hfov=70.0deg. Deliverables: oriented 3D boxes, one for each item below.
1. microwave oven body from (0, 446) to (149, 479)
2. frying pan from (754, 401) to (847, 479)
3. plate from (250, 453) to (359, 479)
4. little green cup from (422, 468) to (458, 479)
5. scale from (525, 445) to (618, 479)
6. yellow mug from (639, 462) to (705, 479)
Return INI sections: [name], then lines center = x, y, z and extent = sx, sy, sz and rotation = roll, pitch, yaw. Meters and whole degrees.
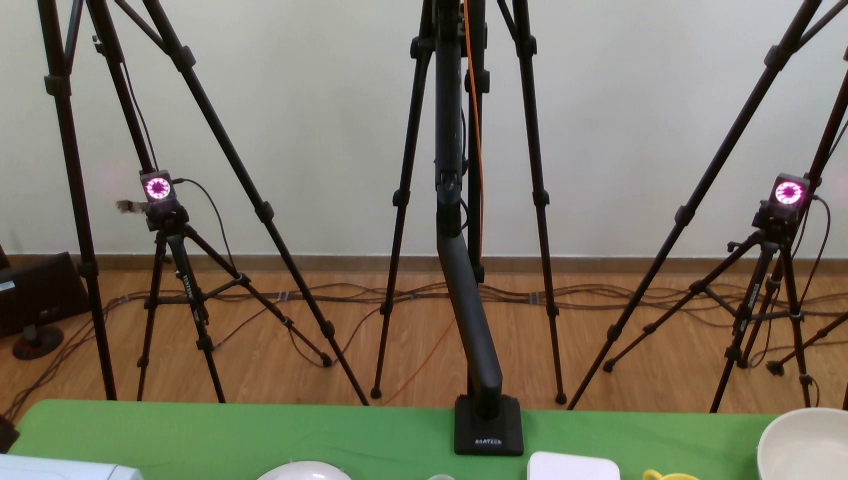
[microwave oven body]
center = -0.537, 0.490, 0.676
extent = 0.326, 0.262, 0.438
rotation = 3, 38, 6
[frying pan]
center = 0.698, 0.427, 0.846
extent = 0.307, 0.103, 0.482
rotation = -16, 31, -17
[plate]
center = -0.193, 0.430, 0.937
extent = 0.208, 0.039, 0.205
rotation = -1, 36, 1
[little green cup]
center = 0.025, 0.401, 0.965
extent = 0.061, 0.039, 0.061
rotation = -1, 36, 1
[scale]
center = 0.231, 0.416, 0.942
extent = 0.148, 0.032, 0.199
rotation = 3, 37, 8
[yellow mug]
center = 0.379, 0.397, 0.931
extent = 0.100, 0.064, 0.129
rotation = -19, 39, -22
